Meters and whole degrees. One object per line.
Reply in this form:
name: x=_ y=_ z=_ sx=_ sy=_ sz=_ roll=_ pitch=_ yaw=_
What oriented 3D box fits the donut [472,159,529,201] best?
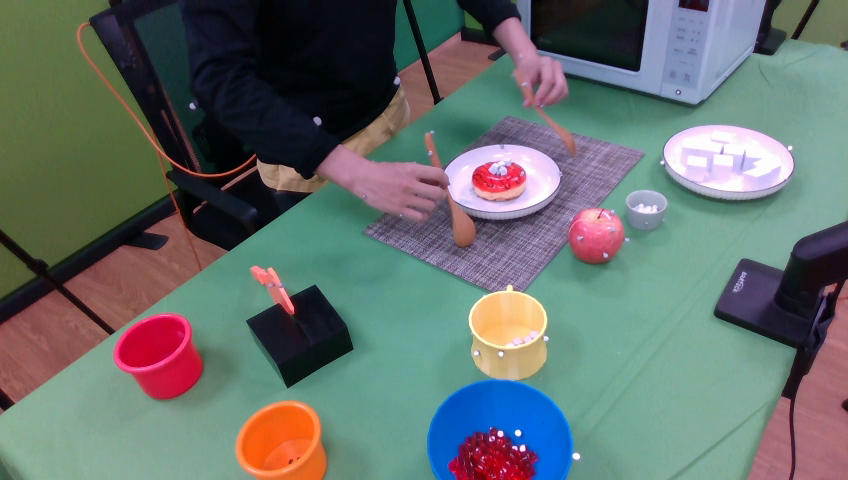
donut: x=0.132 y=-0.105 z=1.043 sx=0.099 sy=0.048 sz=0.098 roll=-5 pitch=37 yaw=4

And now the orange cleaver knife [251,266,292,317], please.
orange cleaver knife: x=-0.221 y=0.071 z=0.873 sx=0.012 sy=0.077 sz=0.210 roll=-25 pitch=11 yaw=-21

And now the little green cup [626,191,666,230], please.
little green cup: x=0.352 y=-0.046 z=0.963 sx=0.061 sy=0.039 sz=0.061 roll=-4 pitch=40 yaw=4

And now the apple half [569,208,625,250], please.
apple half: x=0.262 y=-0.014 z=0.913 sx=0.080 sy=0.075 sz=0.053 roll=4 pitch=37 yaw=20

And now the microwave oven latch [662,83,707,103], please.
microwave oven latch: x=0.517 y=-0.296 z=1.204 sx=0.078 sy=0.029 sz=0.030 roll=27 pitch=52 yaw=35

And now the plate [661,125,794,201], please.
plate: x=0.513 y=-0.128 z=1.035 sx=0.207 sy=0.039 sz=0.206 roll=-4 pitch=40 yaw=4

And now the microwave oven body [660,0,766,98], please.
microwave oven body: x=0.472 y=-0.513 z=1.317 sx=0.438 sy=0.261 sz=0.327 roll=26 pitch=51 yaw=34

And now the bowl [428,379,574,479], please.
bowl: x=0.082 y=0.233 z=0.644 sx=0.151 sy=0.077 sz=0.150 roll=-4 pitch=40 yaw=4

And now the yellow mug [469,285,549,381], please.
yellow mug: x=0.112 y=0.112 z=0.792 sx=0.100 sy=0.064 sz=0.130 roll=0 pitch=40 yaw=9

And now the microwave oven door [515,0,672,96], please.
microwave oven door: x=0.344 y=-0.455 z=1.259 sx=0.353 sy=0.245 sz=0.039 roll=26 pitch=51 yaw=33

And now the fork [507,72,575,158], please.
fork: x=0.213 y=-0.224 z=1.084 sx=0.018 sy=0.209 sz=0.028 roll=-17 pitch=38 yaw=51

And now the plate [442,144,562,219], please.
plate: x=0.134 y=-0.098 z=1.052 sx=0.209 sy=0.038 sz=0.208 roll=-4 pitch=40 yaw=4

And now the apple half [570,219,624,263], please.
apple half: x=0.250 y=0.010 z=0.885 sx=0.081 sy=0.081 sz=0.033 roll=7 pitch=38 yaw=17

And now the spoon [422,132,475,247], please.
spoon: x=0.034 y=-0.075 z=0.928 sx=0.042 sy=0.194 sz=0.021 roll=-30 pitch=17 yaw=-18
